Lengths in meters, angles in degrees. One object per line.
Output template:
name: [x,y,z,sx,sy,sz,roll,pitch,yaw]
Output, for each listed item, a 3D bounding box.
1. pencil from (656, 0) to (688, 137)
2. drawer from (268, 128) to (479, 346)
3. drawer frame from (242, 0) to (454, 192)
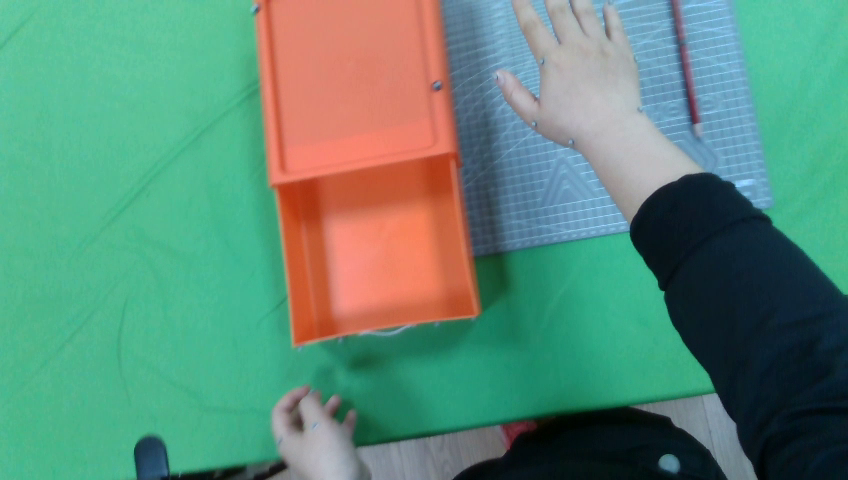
pencil: [0.264,-0.204,0.650,0.012,0.012,0.193,-10,84,8]
drawer: [-0.056,-0.005,0.648,0.194,0.073,0.211,-11,84,10]
drawer frame: [-0.084,-0.166,0.666,0.201,0.083,0.212,-11,81,9]
